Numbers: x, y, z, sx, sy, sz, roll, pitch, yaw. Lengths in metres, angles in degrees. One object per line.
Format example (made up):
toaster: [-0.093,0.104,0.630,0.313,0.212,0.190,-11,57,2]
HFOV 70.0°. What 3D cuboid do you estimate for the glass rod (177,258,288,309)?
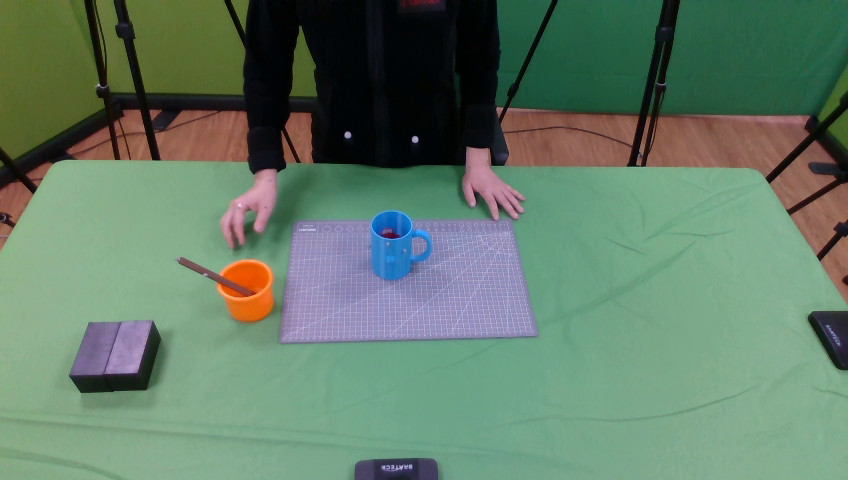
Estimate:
glass rod: [-0.319,0.076,1.020,0.200,0.008,0.008,30,40,-25]

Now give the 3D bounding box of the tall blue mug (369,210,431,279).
tall blue mug: [-0.049,0.005,1.125,0.107,0.108,0.077,-19,50,-21]
